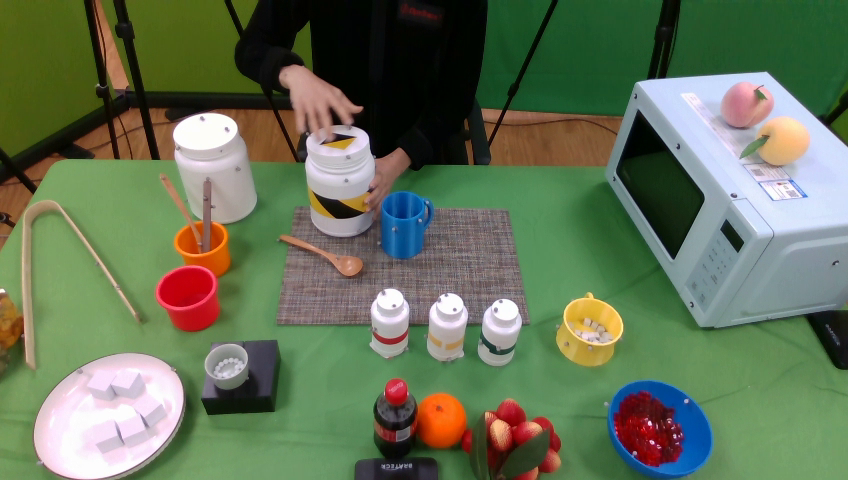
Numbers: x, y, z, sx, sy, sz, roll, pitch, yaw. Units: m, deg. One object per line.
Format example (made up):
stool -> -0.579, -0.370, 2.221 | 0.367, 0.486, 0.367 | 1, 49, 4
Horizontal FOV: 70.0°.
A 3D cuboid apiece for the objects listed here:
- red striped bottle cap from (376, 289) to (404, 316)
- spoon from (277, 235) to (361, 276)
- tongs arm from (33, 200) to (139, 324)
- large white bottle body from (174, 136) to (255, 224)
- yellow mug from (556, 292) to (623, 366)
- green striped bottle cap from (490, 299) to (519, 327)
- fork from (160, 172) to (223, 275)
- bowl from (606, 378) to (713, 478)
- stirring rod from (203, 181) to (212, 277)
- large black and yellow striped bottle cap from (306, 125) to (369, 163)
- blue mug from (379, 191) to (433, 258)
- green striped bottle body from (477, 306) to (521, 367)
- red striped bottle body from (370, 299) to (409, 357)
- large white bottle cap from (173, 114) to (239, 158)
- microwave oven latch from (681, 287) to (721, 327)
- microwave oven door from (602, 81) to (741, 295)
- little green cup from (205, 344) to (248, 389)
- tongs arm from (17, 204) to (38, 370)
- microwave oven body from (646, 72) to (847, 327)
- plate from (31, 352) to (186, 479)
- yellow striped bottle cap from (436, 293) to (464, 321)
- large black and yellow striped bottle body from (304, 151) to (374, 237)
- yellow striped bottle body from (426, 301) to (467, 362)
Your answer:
red striped bottle cap -> -0.054, 0.098, 0.958 | 0.044, 0.018, 0.044 | 0, 48, 0
spoon -> -0.202, 0.023, 1.155 | 0.193, 0.022, 0.041 | 23, 71, 18
tongs arm -> -0.622, 0.034, 1.105 | 0.051, 0.026, 0.382 | -32, 56, -26
large white bottle body -> -0.408, -0.137, 1.183 | 0.131, 0.185, 0.130 | 2, 46, -2
yellow mug -> 0.285, 0.145, 1.051 | 0.100, 0.064, 0.130 | 7, 45, 3
green striped bottle cap -> 0.128, 0.115, 0.958 | 0.044, 0.020, 0.044 | 2, 47, -1
fork -> -0.425, -0.030, 1.103 | 0.028, 0.018, 0.207 | -29, 98, -19
bowl -> 0.340, 0.292, 0.906 | 0.151, 0.077, 0.150 | 2, 46, -2
stirring rod -> -0.396, -0.021, 1.108 | 0.014, 0.006, 0.176 | -1, 89, -1
large black and yellow striped bottle cap -> -0.159, -0.177, 1.111 | 0.115, 0.019, 0.114 | 0, 40, 0
blue mug -> -0.031, -0.035, 1.167 | 0.116, 0.106, 0.082 | -26, 54, -27
green striped bottle body -> 0.124, 0.151, 0.995 | 0.063, 0.120, 0.063 | 2, 46, -2
red striped bottle body -> -0.057, 0.135, 0.997 | 0.063, 0.120, 0.062 | 2, 47, -2
large white bottle cap -> -0.403, -0.195, 1.122 | 0.115, 0.018, 0.114 | 2, 47, -2
microwave oven latch -> 0.494, 0.119, 1.087 | 0.030, 0.029, 0.078 | -5, 46, -9
microwave oven door -> 0.456, -0.107, 1.162 | 0.039, 0.245, 0.353 | -7, 47, -11
little green cup -> -0.294, 0.191, 0.909 | 0.061, 0.039, 0.061 | 1, 48, -1
tongs arm -> -0.698, 0.069, 1.068 | 0.028, 0.028, 0.385 | -20, 50, -13
microwave oven body -> 0.607, -0.089, 1.164 | 0.326, 0.261, 0.438 | -7, 46, -10
plate -> -0.459, 0.262, 0.898 | 0.209, 0.038, 0.208 | 2, 46, -2
yellow striped bottle cap -> 0.041, 0.106, 0.959 | 0.044, 0.019, 0.044 | -1, 50, 1
large black and yellow striped bottle body -> -0.163, -0.111, 1.174 | 0.131, 0.185, 0.130 | 2, 46, -2
yellow striped bottle body -> 0.037, 0.142, 0.996 | 0.063, 0.121, 0.062 | 2, 46, -2
